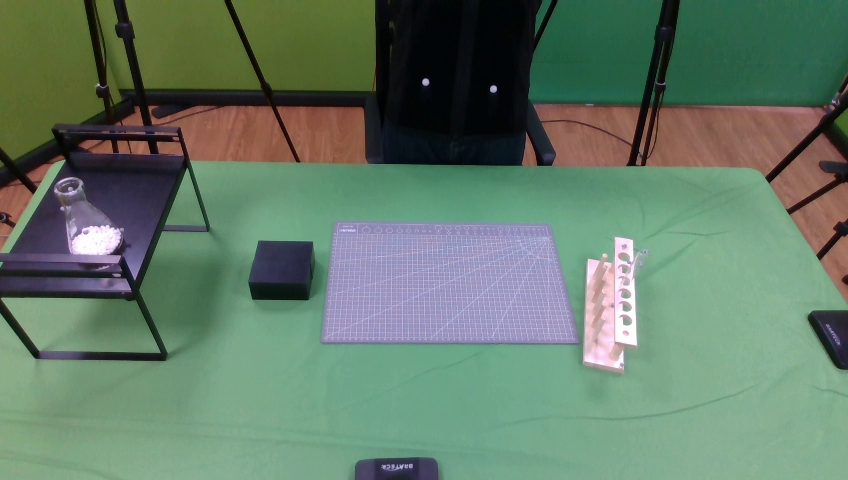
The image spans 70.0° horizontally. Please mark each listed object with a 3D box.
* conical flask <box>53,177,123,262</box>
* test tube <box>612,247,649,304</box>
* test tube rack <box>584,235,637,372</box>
[{"bbox_3d":[-0.490,-0.033,0.872,0.075,0.122,0.075,1,46,-1],"label":"conical flask"},{"bbox_3d":[0.353,0.065,1.043,0.017,0.151,0.017,4,49,-4],"label":"test tube"},{"bbox_3d":[0.329,0.103,1.073,0.067,0.085,0.241,11,47,7],"label":"test tube rack"}]
